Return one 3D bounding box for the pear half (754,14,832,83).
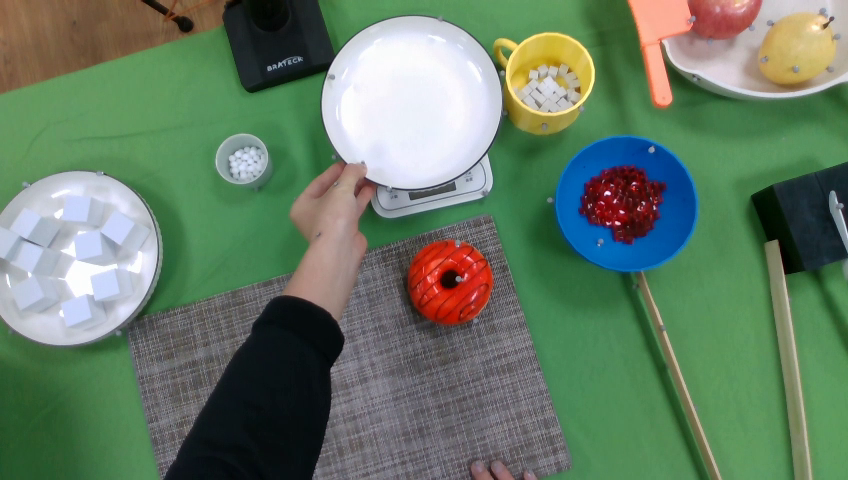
[{"bbox_3d":[0.420,-0.214,0.682,0.076,0.110,0.056,19,83,8],"label":"pear half"}]

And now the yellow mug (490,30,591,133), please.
[{"bbox_3d":[0.128,-0.194,0.714,0.130,0.064,0.100,40,85,8],"label":"yellow mug"}]

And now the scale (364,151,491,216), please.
[{"bbox_3d":[-0.010,-0.138,0.727,0.149,0.031,0.200,-13,82,0],"label":"scale"}]

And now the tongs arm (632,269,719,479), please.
[{"bbox_3d":[0.314,0.204,0.665,0.051,0.026,0.383,-16,82,-5],"label":"tongs arm"}]

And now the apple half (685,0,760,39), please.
[{"bbox_3d":[0.341,-0.267,0.710,0.081,0.075,0.053,25,86,3],"label":"apple half"}]

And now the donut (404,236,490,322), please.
[{"bbox_3d":[0.025,0.044,0.688,0.099,0.048,0.099,0,83,3],"label":"donut"}]

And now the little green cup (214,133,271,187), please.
[{"bbox_3d":[-0.214,-0.093,0.723,0.061,0.039,0.061,0,81,2],"label":"little green cup"}]

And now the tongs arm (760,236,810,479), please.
[{"bbox_3d":[0.398,0.187,0.669,0.028,0.028,0.386,-1,82,-6],"label":"tongs arm"}]

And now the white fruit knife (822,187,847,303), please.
[{"bbox_3d":[0.465,0.041,0.662,0.016,0.027,0.207,-19,96,0],"label":"white fruit knife"}]

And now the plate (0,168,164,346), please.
[{"bbox_3d":[-0.404,0.020,0.711,0.207,0.039,0.207,0,81,2],"label":"plate"}]

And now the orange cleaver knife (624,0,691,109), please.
[{"bbox_3d":[0.258,-0.253,0.682,0.077,0.012,0.210,-12,82,2],"label":"orange cleaver knife"}]

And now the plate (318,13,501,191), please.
[{"bbox_3d":[-0.016,-0.156,0.696,0.209,0.038,0.208,0,81,1],"label":"plate"}]

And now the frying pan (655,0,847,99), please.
[{"bbox_3d":[0.457,-0.227,0.690,0.306,0.103,0.485,-43,75,-4],"label":"frying pan"}]

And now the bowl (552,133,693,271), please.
[{"bbox_3d":[0.213,-0.036,0.682,0.151,0.077,0.151,0,82,2],"label":"bowl"}]

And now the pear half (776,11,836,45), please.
[{"bbox_3d":[0.435,-0.244,0.695,0.070,0.088,0.031,14,81,10],"label":"pear half"}]

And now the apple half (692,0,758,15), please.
[{"bbox_3d":[0.356,-0.302,0.714,0.081,0.081,0.033,24,86,6],"label":"apple half"}]
